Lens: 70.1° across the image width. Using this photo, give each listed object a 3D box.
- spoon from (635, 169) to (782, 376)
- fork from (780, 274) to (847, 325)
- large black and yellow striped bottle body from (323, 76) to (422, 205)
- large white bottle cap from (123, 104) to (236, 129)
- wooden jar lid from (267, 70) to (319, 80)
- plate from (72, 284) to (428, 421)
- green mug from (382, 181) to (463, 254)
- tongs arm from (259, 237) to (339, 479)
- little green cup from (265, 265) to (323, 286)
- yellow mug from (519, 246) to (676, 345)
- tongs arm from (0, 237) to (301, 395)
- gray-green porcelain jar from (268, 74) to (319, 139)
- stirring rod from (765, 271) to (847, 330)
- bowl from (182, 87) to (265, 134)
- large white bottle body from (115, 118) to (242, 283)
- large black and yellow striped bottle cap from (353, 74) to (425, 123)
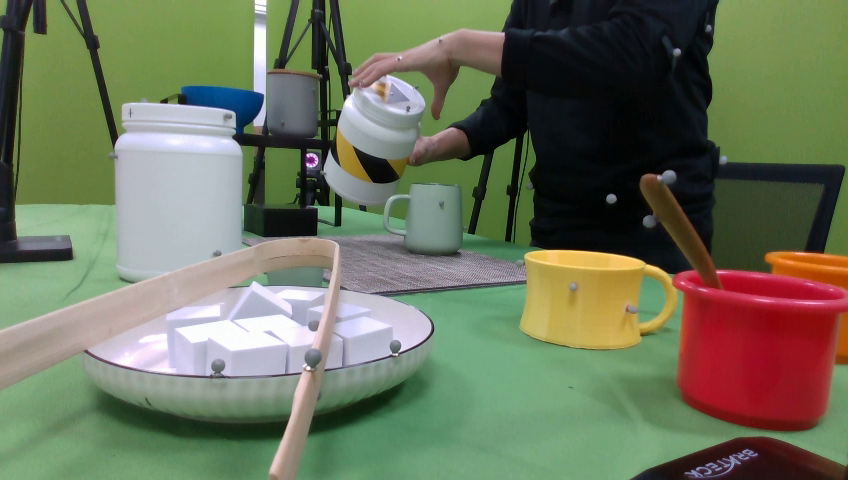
[{"bbox_3d":[0.161,0.026,0.346,0.041,0.194,0.021,10,56,53],"label":"spoon"},{"bbox_3d":[0.332,0.018,0.443,0.028,0.018,0.207,-3,-35,-16],"label":"fork"},{"bbox_3d":[-0.083,-0.165,1.002,0.131,0.183,0.130,16,39,-13],"label":"large black and yellow striped bottle body"},{"bbox_3d":[-0.266,-0.134,0.663,0.115,0.018,0.115,3,7,0],"label":"large white bottle cap"},{"bbox_3d":[-0.275,-0.340,1.271,0.108,0.020,0.108,5,6,0],"label":"wooden jar lid"},{"bbox_3d":[-0.102,0.067,0.381,0.208,0.039,0.207,3,7,0],"label":"plate"},{"bbox_3d":[-0.001,-0.036,0.922,0.126,0.105,0.092,0,8,-16],"label":"green mug"},{"bbox_3d":[-0.074,0.040,0.345,0.051,0.026,0.384,-2,9,-3],"label":"tongs arm"},{"bbox_3d":[-0.134,0.034,0.628,0.061,0.038,0.061,3,6,0],"label":"little green cup"},{"bbox_3d":[0.148,0.045,0.513,0.131,0.064,0.100,3,7,0],"label":"yellow mug"},{"bbox_3d":[-0.158,0.039,0.347,0.028,0.028,0.388,-3,8,11],"label":"tongs arm"},{"bbox_3d":[-0.277,-0.279,1.280,0.106,0.126,0.106,2,8,0],"label":"gray-green porcelain jar"},{"bbox_3d":[0.352,0.020,0.481,0.176,0.006,0.014,-40,-8,17],"label":"stirring rod"},{"bbox_3d":[-0.383,-0.244,1.158,0.151,0.077,0.151,2,7,0],"label":"bowl"},{"bbox_3d":[-0.270,-0.051,0.673,0.131,0.184,0.130,2,8,0],"label":"large white bottle body"},{"bbox_3d":[-0.054,-0.223,0.949,0.115,0.019,0.115,15,39,-12],"label":"large black and yellow striped bottle cap"}]
